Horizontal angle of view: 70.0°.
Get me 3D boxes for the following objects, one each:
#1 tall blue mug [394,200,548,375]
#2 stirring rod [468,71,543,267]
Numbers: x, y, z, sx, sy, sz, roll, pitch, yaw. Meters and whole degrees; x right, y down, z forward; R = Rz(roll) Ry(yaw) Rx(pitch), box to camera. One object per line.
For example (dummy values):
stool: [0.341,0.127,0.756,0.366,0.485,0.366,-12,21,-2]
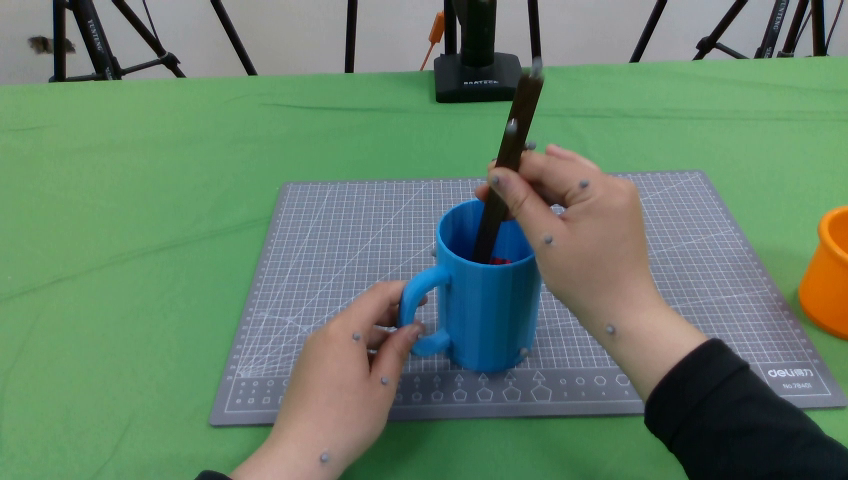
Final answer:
tall blue mug: [0.038,0.044,0.435,0.077,0.109,0.107,21,45,23]
stirring rod: [0.045,-0.026,0.382,0.014,0.177,0.006,17,43,6]
